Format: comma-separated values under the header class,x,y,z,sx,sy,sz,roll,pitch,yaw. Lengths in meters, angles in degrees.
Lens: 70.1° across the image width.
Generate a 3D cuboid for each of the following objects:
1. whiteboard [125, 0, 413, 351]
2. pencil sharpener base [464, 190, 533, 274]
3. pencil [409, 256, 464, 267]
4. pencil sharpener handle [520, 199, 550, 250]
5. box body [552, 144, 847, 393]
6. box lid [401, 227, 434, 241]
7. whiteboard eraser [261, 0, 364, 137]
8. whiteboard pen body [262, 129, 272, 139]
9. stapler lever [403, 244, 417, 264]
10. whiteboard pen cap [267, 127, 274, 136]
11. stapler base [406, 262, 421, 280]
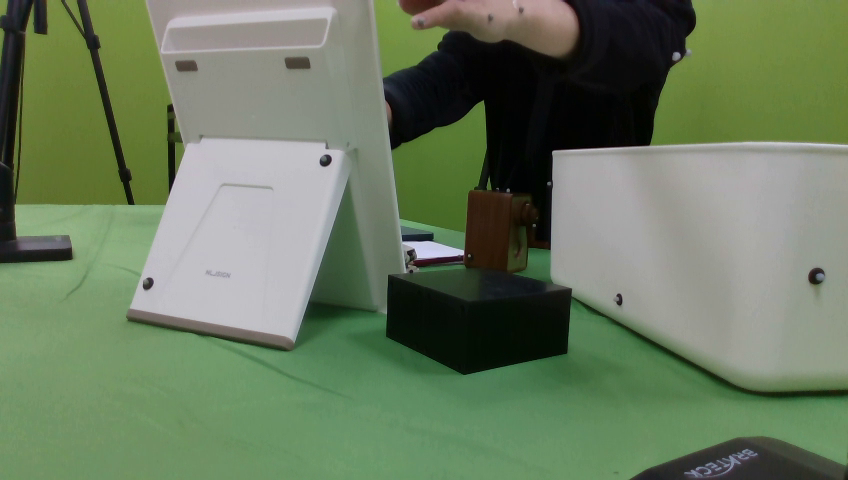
class,x,y,z,sx,sy,sz,roll,pitch,yaw
whiteboard,-0.151,-0.050,0.471,0.216,0.305,0.144,6,27,25
pencil sharpener base,0.103,-0.012,0.813,0.076,0.107,0.061,8,9,35
pencil,0.042,0.028,0.850,0.195,0.012,0.012,-4,10,-45
pencil sharpener handle,0.147,-0.019,0.785,0.030,0.068,0.036,8,24,36
box body,0.290,0.002,0.549,0.255,0.160,0.363,2,7,-10
box lid,-0.196,-0.015,1.105,0.373,0.015,0.262,-1,7,-32
whiteboard eraser,-0.096,-0.144,0.503,0.055,0.112,0.042,29,36,-4
whiteboard pen body,-0.361,-0.245,1.393,0.017,0.017,0.140,0,5,-20
stapler lever,-0.066,0.003,0.754,0.117,0.040,0.027,9,13,23
whiteboard pen cap,-0.340,-0.239,1.337,0.018,0.018,0.033,1,-1,-14
stapler base,-0.069,0.027,0.759,0.130,0.024,0.041,10,14,23
